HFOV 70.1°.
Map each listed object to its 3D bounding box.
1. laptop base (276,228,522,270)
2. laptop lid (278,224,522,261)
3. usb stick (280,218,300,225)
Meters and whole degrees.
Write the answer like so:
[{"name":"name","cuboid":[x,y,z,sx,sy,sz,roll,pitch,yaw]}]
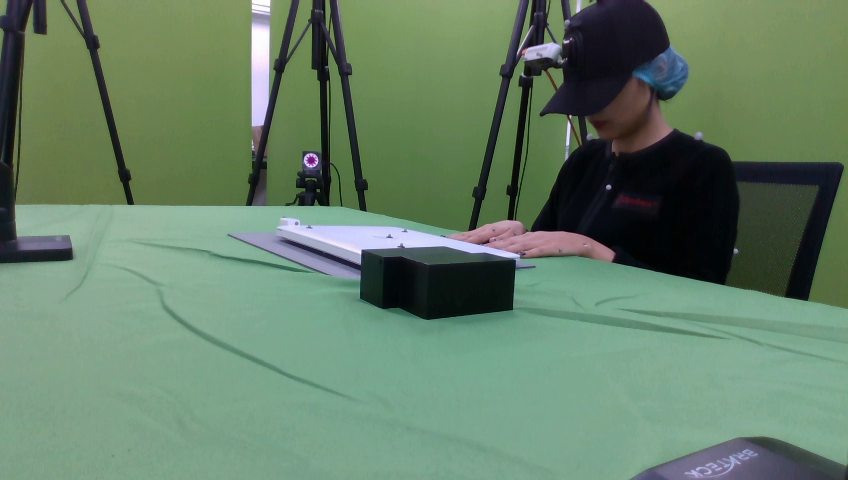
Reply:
[{"name":"laptop base","cuboid":[-0.054,0.011,0.910,0.237,0.023,0.352,1,6,-33]},{"name":"laptop lid","cuboid":[-0.052,-0.001,0.909,0.243,0.013,0.355,0,7,-32]},{"name":"usb stick","cuboid":[-0.225,-0.023,1.024,0.021,0.027,0.059,0,9,-31]}]
